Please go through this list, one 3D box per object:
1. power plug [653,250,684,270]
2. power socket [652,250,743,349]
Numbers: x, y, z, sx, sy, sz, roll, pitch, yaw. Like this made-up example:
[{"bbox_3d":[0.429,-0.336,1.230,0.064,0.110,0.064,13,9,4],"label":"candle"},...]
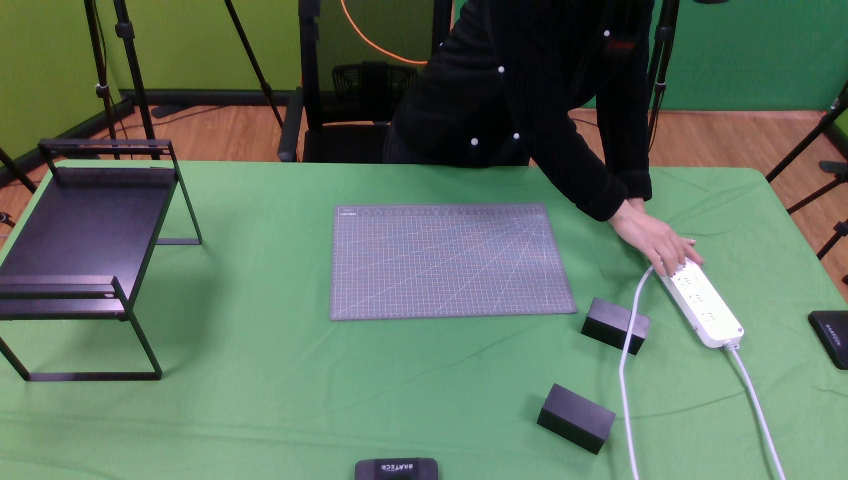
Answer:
[{"bbox_3d":[0.459,0.040,1.154,0.072,0.053,0.035,2,46,-5],"label":"power plug"},{"bbox_3d":[0.504,0.104,1.126,0.072,0.033,0.225,-8,48,-11],"label":"power socket"}]
